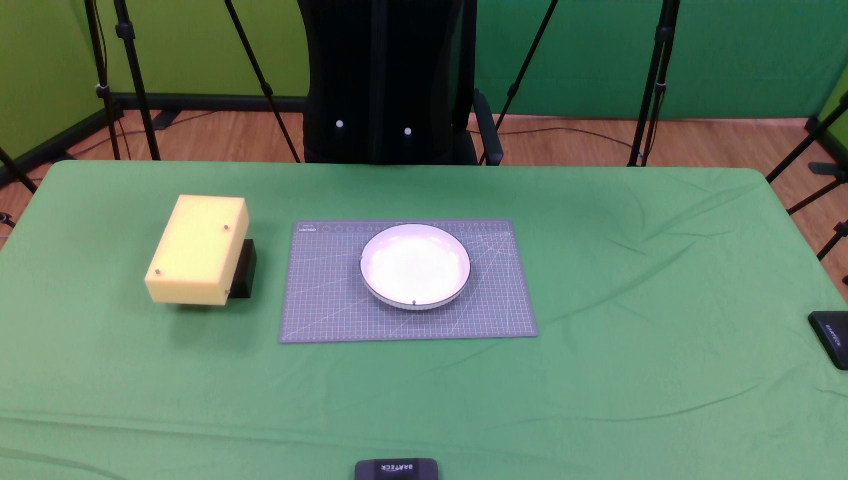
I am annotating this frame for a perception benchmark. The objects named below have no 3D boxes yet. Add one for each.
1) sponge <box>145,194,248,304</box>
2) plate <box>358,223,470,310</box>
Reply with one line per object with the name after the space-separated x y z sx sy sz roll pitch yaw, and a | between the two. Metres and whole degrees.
-0.391 0.012 1.059 0.118 0.061 0.205 2 46 -3 | sponge
-0.019 0.052 1.132 0.209 0.038 0.208 2 46 -2 | plate
